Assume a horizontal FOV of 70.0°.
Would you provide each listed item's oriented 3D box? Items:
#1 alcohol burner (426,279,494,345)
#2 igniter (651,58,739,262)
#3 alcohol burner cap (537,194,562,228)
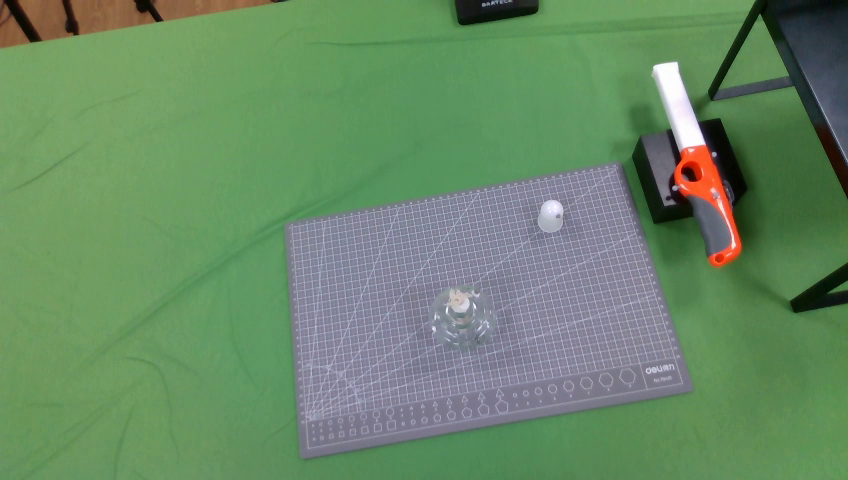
[{"bbox_3d":[0.039,0.076,0.677,0.078,0.120,0.077,-2,69,6],"label":"alcohol burner"},{"bbox_3d":[0.319,-0.102,0.720,0.057,0.025,0.274,-7,66,3],"label":"igniter"},{"bbox_3d":[0.157,-0.039,0.750,0.034,0.048,0.033,-2,69,6],"label":"alcohol burner cap"}]
